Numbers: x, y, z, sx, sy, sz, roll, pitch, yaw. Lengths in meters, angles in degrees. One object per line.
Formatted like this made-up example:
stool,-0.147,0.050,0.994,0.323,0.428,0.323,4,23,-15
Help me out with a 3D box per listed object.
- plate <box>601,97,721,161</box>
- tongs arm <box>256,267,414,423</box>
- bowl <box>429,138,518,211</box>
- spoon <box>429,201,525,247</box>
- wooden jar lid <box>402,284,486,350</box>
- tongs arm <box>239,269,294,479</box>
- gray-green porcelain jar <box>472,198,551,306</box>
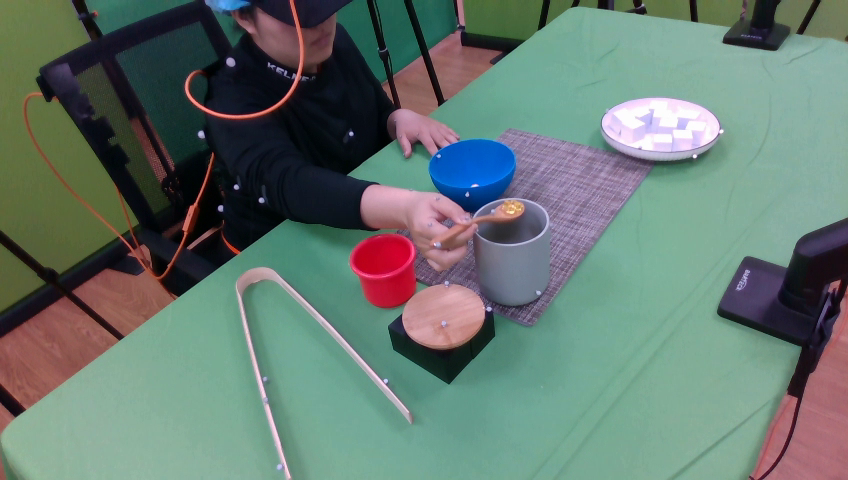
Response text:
plate,0.437,-0.202,1.126,0.209,0.038,0.208,-5,39,5
tongs arm,-0.136,0.133,0.853,0.028,0.028,0.384,-34,45,-23
bowl,0.087,-0.104,1.043,0.151,0.077,0.150,-5,40,5
spoon,0.068,-0.023,0.766,0.041,0.021,0.195,19,25,36
wooden jar lid,0.027,0.101,0.786,0.108,0.021,0.108,-5,39,4
tongs arm,-0.208,0.163,0.824,0.051,0.026,0.381,-21,40,-16
gray-green porcelain jar,0.125,0.021,0.850,0.106,0.127,0.105,-6,40,5
